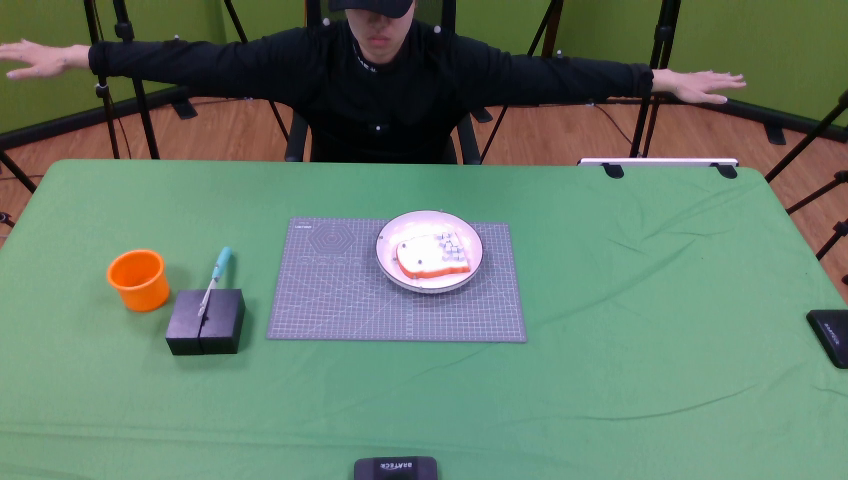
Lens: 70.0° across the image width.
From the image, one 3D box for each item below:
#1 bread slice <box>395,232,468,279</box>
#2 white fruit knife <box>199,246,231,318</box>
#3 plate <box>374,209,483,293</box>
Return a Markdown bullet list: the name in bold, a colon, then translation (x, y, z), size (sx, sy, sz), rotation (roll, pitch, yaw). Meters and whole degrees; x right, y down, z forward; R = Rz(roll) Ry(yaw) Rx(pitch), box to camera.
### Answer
- **bread slice**: translation (0.011, 0.030, 1.158), size (0.132, 0.019, 0.104), rotation (-8, 47, -14)
- **white fruit knife**: translation (-0.367, 0.069, 1.063), size (0.016, 0.027, 0.206), rotation (-1, 32, -4)
- **plate**: translation (0.009, 0.024, 1.160), size (0.209, 0.038, 0.208), rotation (2, 46, -2)
